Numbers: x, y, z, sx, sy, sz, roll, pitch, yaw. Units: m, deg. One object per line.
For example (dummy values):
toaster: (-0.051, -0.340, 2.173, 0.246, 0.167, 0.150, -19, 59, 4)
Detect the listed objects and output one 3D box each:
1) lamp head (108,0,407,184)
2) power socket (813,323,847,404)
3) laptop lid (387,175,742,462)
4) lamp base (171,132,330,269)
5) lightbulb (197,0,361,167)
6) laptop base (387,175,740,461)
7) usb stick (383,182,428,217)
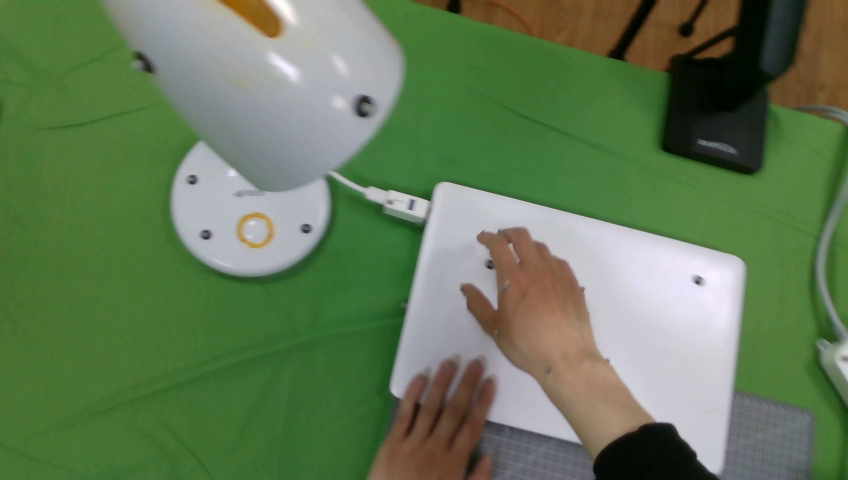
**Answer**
lamp head: (-0.087, -0.105, 0.288, 0.124, 0.111, 0.112, 43, 73, -39)
power socket: (0.514, 0.190, 0.658, 0.072, 0.032, 0.226, -27, 82, -11)
laptop lid: (0.157, 0.080, 0.639, 0.357, 0.013, 0.241, 15, 79, -3)
lamp base: (-0.177, -0.076, 0.562, 0.161, 0.181, 0.178, -16, 78, -9)
lightbulb: (-0.074, -0.083, 0.305, 0.059, 0.109, 0.059, -16, 48, 19)
laptop base: (0.156, 0.080, 0.651, 0.355, 0.023, 0.234, 14, 80, -3)
usb stick: (-0.013, -0.040, 0.644, 0.059, 0.027, 0.021, 18, 72, -5)
